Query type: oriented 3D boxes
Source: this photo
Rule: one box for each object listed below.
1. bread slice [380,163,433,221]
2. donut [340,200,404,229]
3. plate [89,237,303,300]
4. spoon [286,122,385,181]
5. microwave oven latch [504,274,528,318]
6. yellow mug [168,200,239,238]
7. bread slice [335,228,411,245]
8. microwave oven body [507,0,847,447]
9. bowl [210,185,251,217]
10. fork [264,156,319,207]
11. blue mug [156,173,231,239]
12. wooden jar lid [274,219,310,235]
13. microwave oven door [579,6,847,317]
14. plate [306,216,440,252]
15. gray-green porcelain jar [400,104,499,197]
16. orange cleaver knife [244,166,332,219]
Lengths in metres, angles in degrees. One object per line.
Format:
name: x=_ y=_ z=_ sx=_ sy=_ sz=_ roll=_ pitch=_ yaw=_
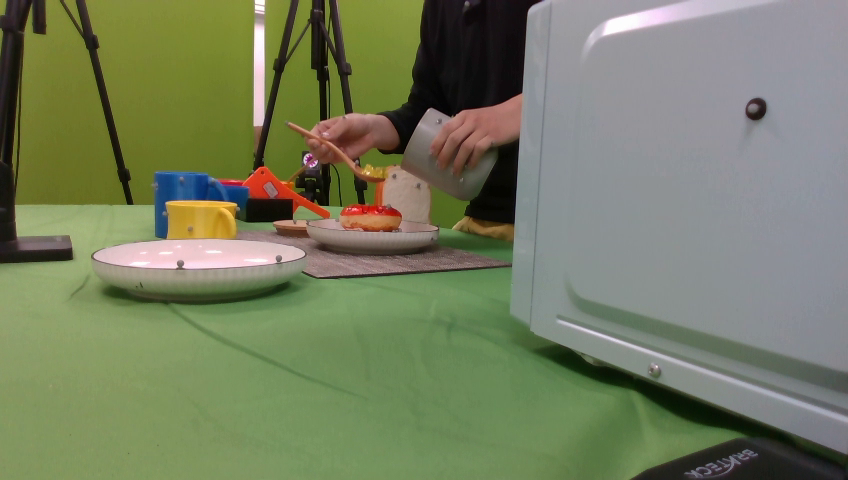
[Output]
bread slice: x=-0.035 y=-0.076 z=1.124 sx=0.107 sy=0.134 sz=0.018 roll=-4 pitch=1 yaw=-26
donut: x=-0.081 y=-0.038 z=0.945 sx=0.099 sy=0.048 sz=0.099 roll=1 pitch=5 yaw=0
plate: x=-0.233 y=0.029 z=0.637 sx=0.208 sy=0.039 sz=0.207 roll=2 pitch=7 yaw=0
spoon: x=-0.143 y=-0.142 z=0.956 sx=0.193 sy=0.021 sz=0.042 roll=35 pitch=16 yaw=15
microwave oven latch: x=0.100 y=0.041 z=0.471 sx=0.079 sy=0.029 sz=0.030 roll=-1 pitch=8 yaw=-28
yellow mug: x=-0.320 y=-0.023 z=0.904 sx=0.130 sy=0.064 sz=0.100 roll=9 pitch=11 yaw=36
bread slice: x=-0.074 y=-0.007 z=0.937 sx=0.105 sy=0.019 sz=0.131 roll=-1 pitch=6 yaw=-19
microwave oven body: x=0.331 y=-0.042 z=0.425 sx=0.444 sy=0.260 sz=0.324 roll=-2 pitch=8 yaw=-31
bowl: x=-0.408 y=-0.064 z=1.155 sx=0.151 sy=0.077 sz=0.151 roll=2 pitch=8 yaw=0
fork: x=-0.331 y=-0.144 z=1.506 sx=0.207 sy=0.018 sz=0.028 roll=-42 pitch=-20 yaw=22
blue mug: x=-0.381 y=-0.057 z=1.004 sx=0.117 sy=0.106 sz=0.082 roll=1 pitch=8 yaw=-12
wooden jar lid: x=-0.213 y=-0.023 z=1.080 sx=0.108 sy=0.020 sz=0.108 roll=3 pitch=7 yaw=0
microwave oven door: x=0.294 y=-0.067 z=0.570 sx=0.358 sy=0.243 sz=0.039 roll=-3 pitch=9 yaw=-31
plate: x=-0.079 y=-0.011 z=0.950 sx=0.209 sy=0.038 sz=0.209 roll=2 pitch=8 yaw=0
gray-green porcelain jar: x=0.043 y=-0.132 z=0.924 sx=0.126 sy=0.105 sz=0.106 roll=27 pitch=10 yaw=3
orange cleaver knife: x=-0.301 y=-0.089 z=1.351 sx=0.212 sy=0.077 sz=0.012 roll=32 pitch=-11 yaw=-34
